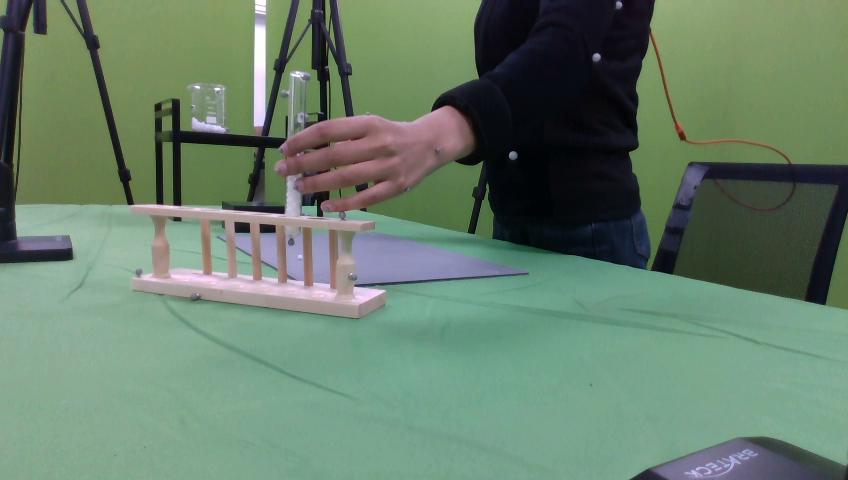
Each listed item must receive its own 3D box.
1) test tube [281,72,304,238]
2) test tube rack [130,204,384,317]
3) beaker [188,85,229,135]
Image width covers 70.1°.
[{"bbox_3d":[-0.121,-0.077,0.553,0.017,0.150,0.017,3,4,0],"label":"test tube"},{"bbox_3d":[-0.163,0.014,0.588,0.242,0.085,0.067,5,8,17],"label":"test tube rack"},{"bbox_3d":[-0.457,-0.275,1.283,0.084,0.100,0.073,-5,9,-40],"label":"beaker"}]
